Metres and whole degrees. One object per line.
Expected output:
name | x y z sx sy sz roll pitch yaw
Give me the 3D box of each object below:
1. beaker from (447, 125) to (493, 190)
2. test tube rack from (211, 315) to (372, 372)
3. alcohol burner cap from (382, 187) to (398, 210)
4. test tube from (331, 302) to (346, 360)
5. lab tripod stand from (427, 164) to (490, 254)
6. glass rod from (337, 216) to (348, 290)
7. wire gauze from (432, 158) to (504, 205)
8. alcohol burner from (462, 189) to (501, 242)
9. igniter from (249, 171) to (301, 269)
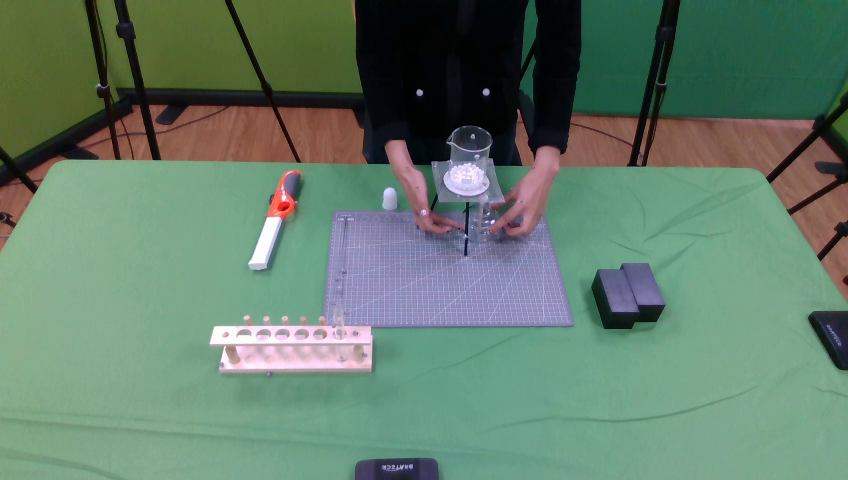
beaker | 0.079 -0.148 1.106 0.084 0.101 0.073 -3 47 -7
test tube rack | -0.208 0.163 0.982 0.242 0.085 0.066 1 46 -4
alcohol burner cap | -0.072 -0.090 1.266 0.034 0.048 0.033 2 46 -2
test tube | -0.132 0.144 0.938 0.017 0.151 0.017 2 49 -3
lab tripod stand | 0.078 -0.068 1.188 0.148 0.132 0.147 3 47 -3
glass rod | -0.158 0.021 1.171 0.008 0.008 0.198 1 44 -2
wire gauze | 0.081 -0.111 1.138 0.125 0.011 0.120 0 48 -7
alcohol burner | 0.114 -0.053 1.190 0.078 0.120 0.077 1 47 -1
igniter | -0.297 -0.049 1.220 0.057 0.025 0.275 -1 45 9
